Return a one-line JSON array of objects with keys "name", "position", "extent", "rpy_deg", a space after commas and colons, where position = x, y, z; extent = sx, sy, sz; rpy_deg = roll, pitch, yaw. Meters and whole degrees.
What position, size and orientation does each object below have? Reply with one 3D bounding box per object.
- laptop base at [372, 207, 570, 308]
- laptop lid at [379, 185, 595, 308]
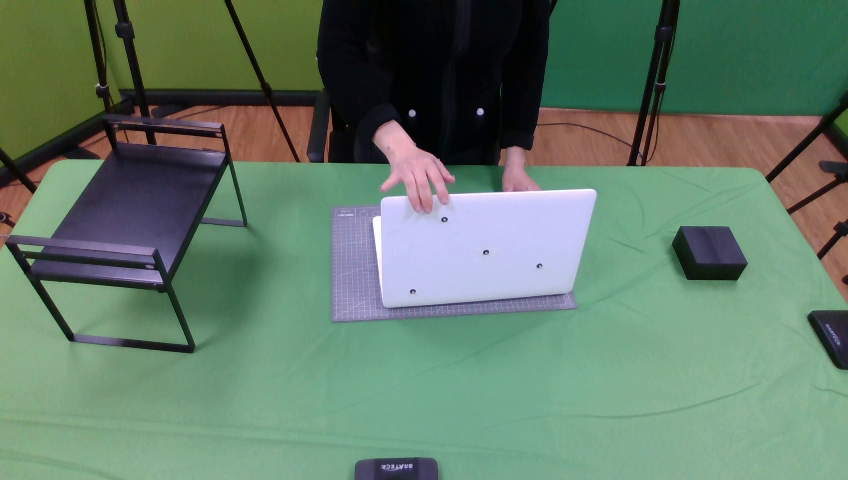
[{"name": "laptop base", "position": [0.083, 0.027, 1.179], "extent": [0.355, 0.023, 0.234], "rpy_deg": [-4, 43, -8]}, {"name": "laptop lid", "position": [0.102, 0.016, 1.022], "extent": [0.357, 0.243, 0.013], "rpy_deg": [-2, 36, -8]}]
